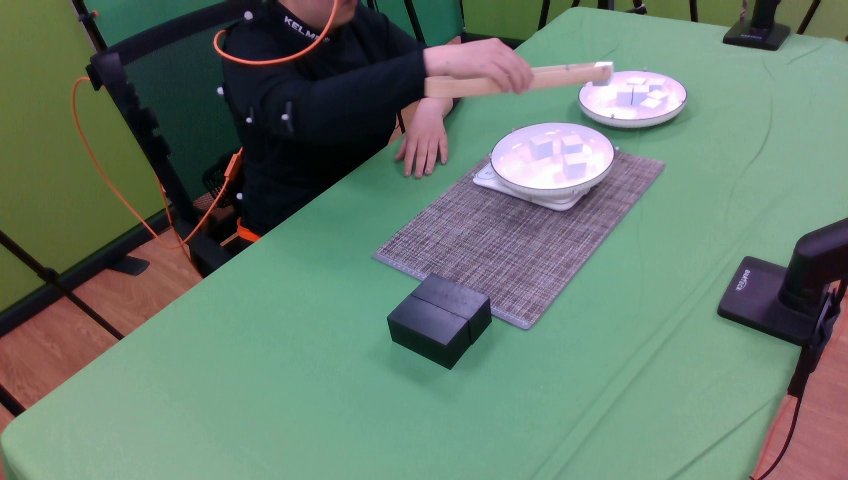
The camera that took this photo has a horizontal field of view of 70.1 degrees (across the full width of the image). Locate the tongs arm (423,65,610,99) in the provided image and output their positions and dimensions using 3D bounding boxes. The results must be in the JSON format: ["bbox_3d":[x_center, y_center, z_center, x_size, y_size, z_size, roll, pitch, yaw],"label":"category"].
[{"bbox_3d":[0.167,-0.266,1.001,0.387,0.026,0.050,-16,27,-34],"label":"tongs arm"}]

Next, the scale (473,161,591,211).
[{"bbox_3d":[0.202,-0.121,1.074,0.199,0.032,0.149,23,49,33],"label":"scale"}]

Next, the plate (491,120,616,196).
[{"bbox_3d":[0.221,-0.137,1.038,0.207,0.039,0.206,-6,41,5],"label":"plate"}]

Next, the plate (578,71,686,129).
[{"bbox_3d":[0.416,-0.279,1.222,0.209,0.038,0.208,-5,41,5],"label":"plate"}]

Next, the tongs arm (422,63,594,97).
[{"bbox_3d":[0.153,-0.273,1.021,0.390,0.028,0.028,-14,30,-31],"label":"tongs arm"}]
